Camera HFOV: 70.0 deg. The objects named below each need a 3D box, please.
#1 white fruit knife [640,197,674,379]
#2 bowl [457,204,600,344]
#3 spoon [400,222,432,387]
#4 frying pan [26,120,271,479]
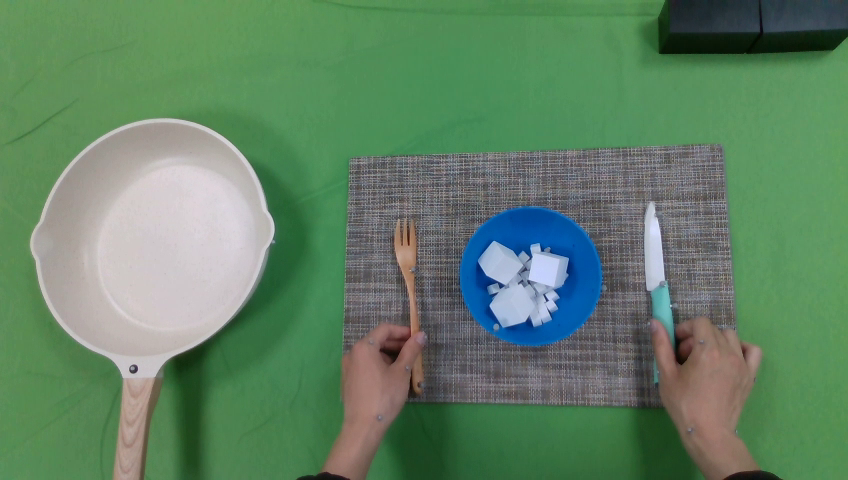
[{"bbox_3d":[0.261,0.052,0.684,0.027,0.016,0.206,-12,76,45],"label":"white fruit knife"},{"bbox_3d":[0.114,0.042,0.675,0.151,0.077,0.150,-1,79,7],"label":"bowl"},{"bbox_3d":[-0.013,0.074,0.712,0.041,0.022,0.193,-2,76,19],"label":"spoon"},{"bbox_3d":[-0.325,0.099,0.710,0.306,0.103,0.484,-2,71,8],"label":"frying pan"}]
